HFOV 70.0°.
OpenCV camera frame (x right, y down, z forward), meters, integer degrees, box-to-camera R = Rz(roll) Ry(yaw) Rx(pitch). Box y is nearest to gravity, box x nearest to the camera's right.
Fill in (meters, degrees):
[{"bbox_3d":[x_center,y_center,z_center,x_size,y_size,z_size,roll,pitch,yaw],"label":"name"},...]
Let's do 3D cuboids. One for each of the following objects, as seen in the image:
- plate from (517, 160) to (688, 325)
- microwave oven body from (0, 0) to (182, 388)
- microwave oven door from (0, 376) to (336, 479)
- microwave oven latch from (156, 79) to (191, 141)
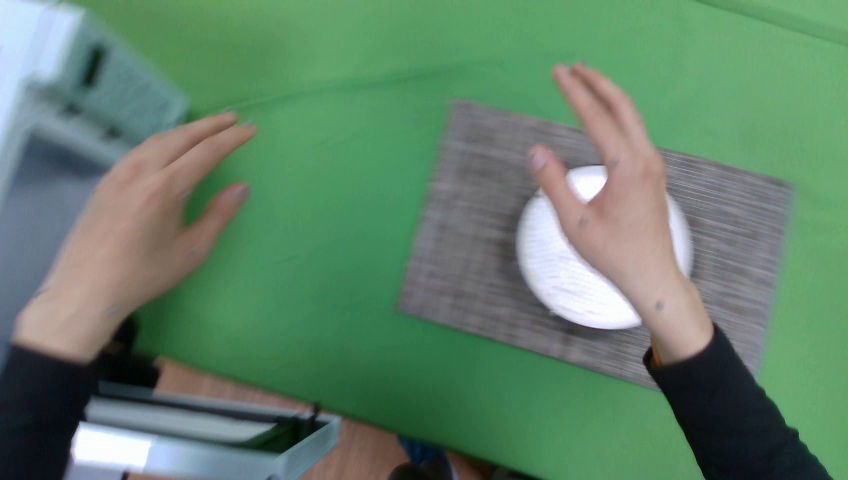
[{"bbox_3d":[0.222,0.003,0.763,0.209,0.038,0.208,0,82,3],"label":"plate"},{"bbox_3d":[-0.536,-0.064,0.697,0.326,0.261,0.440,17,84,4],"label":"microwave oven body"},{"bbox_3d":[-0.294,0.195,0.647,0.356,0.244,0.039,6,82,3],"label":"microwave oven door"},{"bbox_3d":[-0.336,-0.174,0.801,0.030,0.029,0.079,20,84,5],"label":"microwave oven latch"}]
